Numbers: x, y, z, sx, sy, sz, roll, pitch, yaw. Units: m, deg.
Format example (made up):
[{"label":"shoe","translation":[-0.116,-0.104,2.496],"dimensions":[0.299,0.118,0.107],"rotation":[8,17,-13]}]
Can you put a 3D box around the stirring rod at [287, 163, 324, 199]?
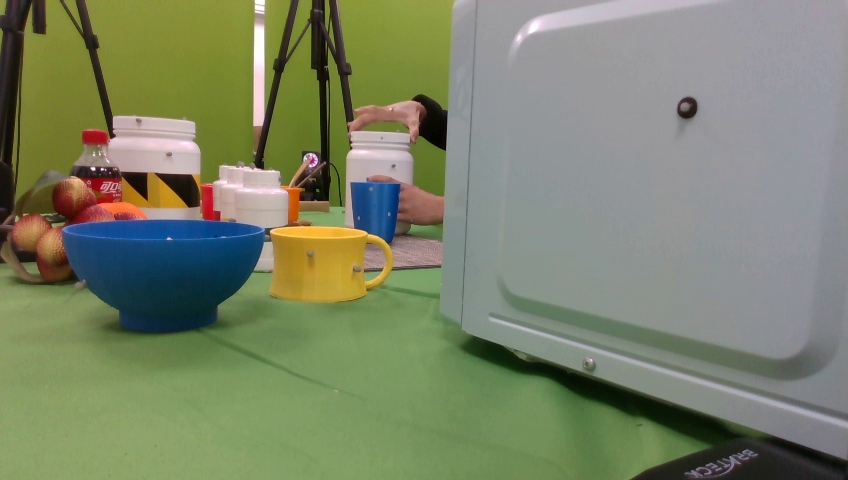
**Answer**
[{"label":"stirring rod","translation":[-0.278,-0.105,1.294],"dimensions":[0.176,0.006,0.014],"rotation":[-47,25,-18]}]

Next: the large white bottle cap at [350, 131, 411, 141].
[{"label":"large white bottle cap","translation":[-0.083,-0.197,1.152],"dimensions":[0.115,0.018,0.115],"rotation":[2,10,0]}]

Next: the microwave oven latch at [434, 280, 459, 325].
[{"label":"microwave oven latch","translation":[0.044,0.045,0.470],"dimensions":[0.079,0.029,0.030],"rotation":[-2,8,-39]}]

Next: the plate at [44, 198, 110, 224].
[{"label":"plate","translation":[-0.617,-0.056,1.179],"dimensions":[0.209,0.038,0.209],"rotation":[3,7,0]}]

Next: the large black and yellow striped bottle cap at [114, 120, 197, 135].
[{"label":"large black and yellow striped bottle cap","translation":[-0.407,-0.171,0.920],"dimensions":[0.115,0.019,0.115],"rotation":[2,9,0]}]

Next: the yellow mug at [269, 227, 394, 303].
[{"label":"yellow mug","translation":[-0.094,0.023,0.629],"dimensions":[0.131,0.064,0.099],"rotation":[0,7,-22]}]

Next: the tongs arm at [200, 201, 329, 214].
[{"label":"tongs arm","translation":[-0.378,-0.079,1.440],"dimensions":[0.387,0.026,0.050],"rotation":[-4,8,-44]}]

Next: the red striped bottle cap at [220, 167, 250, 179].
[{"label":"red striped bottle cap","translation":[-0.281,-0.100,0.901],"dimensions":[0.044,0.017,0.044],"rotation":[-1,4,0]}]

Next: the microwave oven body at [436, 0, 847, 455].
[{"label":"microwave oven body","translation":[0.279,-0.040,0.465],"dimensions":[0.444,0.260,0.324],"rotation":[-3,9,-41]}]

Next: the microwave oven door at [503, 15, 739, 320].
[{"label":"microwave oven door","translation":[0.218,-0.065,0.600],"dimensions":[0.358,0.243,0.039],"rotation":[-4,10,-41]}]

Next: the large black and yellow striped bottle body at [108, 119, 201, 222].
[{"label":"large black and yellow striped bottle body","translation":[-0.412,-0.088,0.930],"dimensions":[0.131,0.184,0.130],"rotation":[3,7,0]}]

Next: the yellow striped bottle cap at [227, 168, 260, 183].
[{"label":"yellow striped bottle cap","translation":[-0.243,-0.087,0.818],"dimensions":[0.044,0.018,0.044],"rotation":[3,6,0]}]

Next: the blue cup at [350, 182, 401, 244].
[{"label":"blue cup","translation":[-0.082,-0.046,1.009],"dimensions":[0.093,0.100,0.092],"rotation":[1,6,0]}]

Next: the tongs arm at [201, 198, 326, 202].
[{"label":"tongs arm","translation":[-0.433,-0.090,1.508],"dimensions":[0.390,0.028,0.028],"rotation":[-1,2,-29]}]

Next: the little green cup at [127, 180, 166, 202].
[{"label":"little green cup","translation":[-0.485,-0.086,1.061],"dimensions":[0.061,0.038,0.061],"rotation":[1,7,0]}]

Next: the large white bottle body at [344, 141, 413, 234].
[{"label":"large white bottle body","translation":[-0.087,-0.109,1.166],"dimensions":[0.131,0.184,0.130],"rotation":[2,8,0]}]

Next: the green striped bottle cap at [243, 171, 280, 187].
[{"label":"green striped bottle cap","translation":[-0.198,-0.074,0.736],"dimensions":[0.044,0.020,0.044],"rotation":[1,7,0]}]

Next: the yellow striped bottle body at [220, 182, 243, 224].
[{"label":"yellow striped bottle body","translation":[-0.246,-0.036,0.825],"dimensions":[0.063,0.120,0.063],"rotation":[3,8,0]}]

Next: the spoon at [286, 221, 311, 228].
[{"label":"spoon","translation":[-0.232,-0.027,1.116],"dimensions":[0.041,0.021,0.193],"rotation":[-22,6,4]}]

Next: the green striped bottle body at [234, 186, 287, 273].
[{"label":"green striped bottle body","translation":[-0.200,-0.023,0.743],"dimensions":[0.063,0.119,0.063],"rotation":[2,7,0]}]

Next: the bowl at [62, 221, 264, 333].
[{"label":"bowl","translation":[-0.209,0.029,0.496],"dimensions":[0.151,0.077,0.151],"rotation":[2,7,0]}]

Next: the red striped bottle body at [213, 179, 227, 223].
[{"label":"red striped bottle body","translation":[-0.284,-0.048,0.909],"dimensions":[0.063,0.119,0.063],"rotation":[3,11,0]}]

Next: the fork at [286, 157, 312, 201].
[{"label":"fork","translation":[-0.289,-0.116,1.321],"dimensions":[0.028,0.018,0.207],"rotation":[7,52,18]}]
